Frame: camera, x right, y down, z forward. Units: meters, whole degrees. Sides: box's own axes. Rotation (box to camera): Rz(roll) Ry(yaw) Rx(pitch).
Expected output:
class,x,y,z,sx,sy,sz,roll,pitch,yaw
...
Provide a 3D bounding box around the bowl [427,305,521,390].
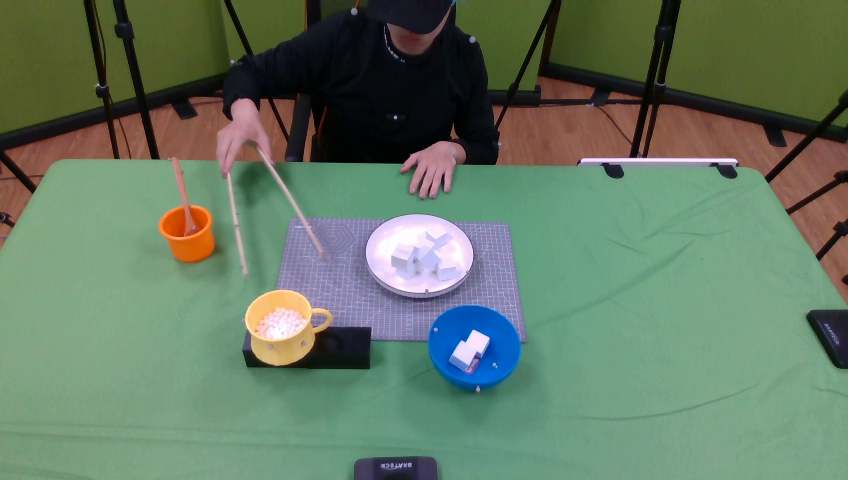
class,x,y,z,sx,sy,sz,roll,pitch,yaw
bowl,0.076,0.188,0.985,0.151,0.077,0.150,3,46,-3

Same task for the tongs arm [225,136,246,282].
class,x,y,z,sx,sy,sz,roll,pitch,yaw
tongs arm,-0.354,-0.074,1.179,0.051,0.026,0.382,-15,50,-12

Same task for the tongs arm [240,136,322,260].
class,x,y,z,sx,sy,sz,roll,pitch,yaw
tongs arm,-0.285,-0.094,1.200,0.028,0.028,0.385,-26,54,-17

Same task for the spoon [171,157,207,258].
class,x,y,z,sx,sy,sz,roll,pitch,yaw
spoon,-0.444,-0.061,1.133,0.042,0.194,0.021,-12,4,-20

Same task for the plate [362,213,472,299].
class,x,y,z,sx,sy,sz,roll,pitch,yaw
plate,-0.014,0.034,1.150,0.208,0.039,0.206,2,46,-2

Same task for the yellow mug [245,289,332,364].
class,x,y,z,sx,sy,sz,roll,pitch,yaw
yellow mug,-0.210,0.132,0.954,0.131,0.064,0.099,-9,48,-14
